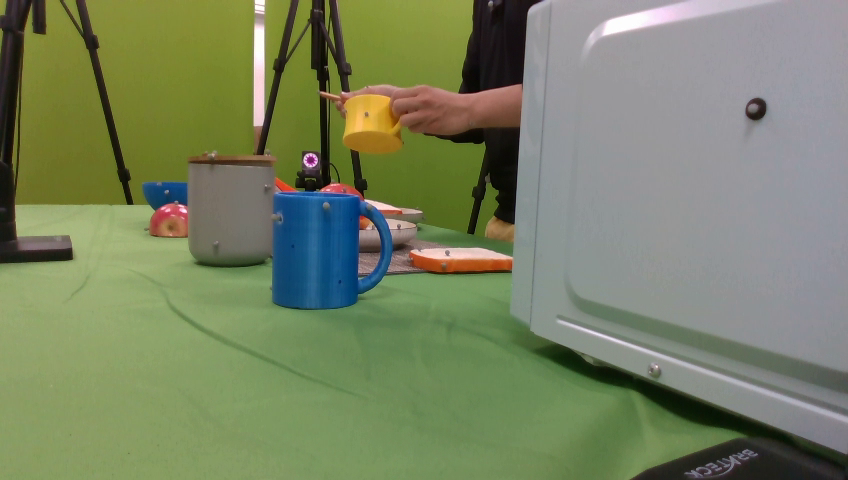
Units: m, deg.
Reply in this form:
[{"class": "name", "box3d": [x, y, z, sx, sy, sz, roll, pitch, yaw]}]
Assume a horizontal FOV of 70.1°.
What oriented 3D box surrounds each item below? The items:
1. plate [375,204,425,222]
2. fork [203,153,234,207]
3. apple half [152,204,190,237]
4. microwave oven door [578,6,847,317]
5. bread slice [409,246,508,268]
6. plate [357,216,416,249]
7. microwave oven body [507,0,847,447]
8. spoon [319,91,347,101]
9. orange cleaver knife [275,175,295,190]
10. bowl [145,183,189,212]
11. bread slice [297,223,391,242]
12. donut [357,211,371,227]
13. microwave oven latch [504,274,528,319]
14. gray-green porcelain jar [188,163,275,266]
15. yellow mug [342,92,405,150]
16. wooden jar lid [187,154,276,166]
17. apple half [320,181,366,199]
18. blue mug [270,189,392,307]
[{"class": "plate", "box3d": [-0.102, -0.053, 1.299, 0.209, 0.038, 0.209, 2, 8, 0]}, {"class": "fork", "box3d": [-0.480, -0.134, 1.411, 0.028, 0.018, 0.207, 1, -35, 0]}, {"class": "apple half", "box3d": [-0.415, -0.034, 1.017, 0.081, 0.053, 0.074, 1, 10, -9]}, {"class": "microwave oven door", "box3d": [0.294, -0.067, 0.570, 0.358, 0.243, 0.039, -3, 9, -31]}, {"class": "bread slice", "box3d": [0.048, 0.022, 0.816, 0.132, 0.019, 0.104, 0, 6, -24]}, {"class": "plate", "box3d": [-0.116, -0.014, 0.967, 0.208, 0.039, 0.207, 2, 7, 0]}, {"class": "microwave oven body", "box3d": [0.331, -0.042, 0.425, 0.444, 0.260, 0.324, -2, 8, -31]}, {"class": "spoon", "box3d": [-0.124, -0.240, 1.075, 0.193, 0.021, 0.042, 32, 21, 35]}, {"class": "orange cleaver knife", "box3d": [-0.283, -0.087, 1.343, 0.212, 0.077, 0.012, 24, -16, -41]}, {"class": "bowl", "box3d": [-0.459, -0.068, 1.175, 0.151, 0.077, 0.151, 3, 7, 0]}, {"class": "bread slice", "box3d": [-0.121, -0.014, 0.971, 0.106, 0.018, 0.135, 9, 11, 42]}, {"class": "donut", "box3d": [-0.132, -0.041, 0.959, 0.099, 0.048, 0.099, 3, 8, 0]}, {"class": "microwave oven latch", "box3d": [0.100, 0.041, 0.470, 0.079, 0.029, 0.030, -1, 7, -27]}, {"class": "gray-green porcelain jar", "box3d": [-0.246, -0.034, 0.780, 0.106, 0.126, 0.106, 2, 7, 0]}, {"class": "yellow mug", "box3d": [-0.075, -0.200, 1.005, 0.100, 0.064, 0.130, 11, -16, -42]}, {"class": "wooden jar lid", "box3d": [-0.244, -0.097, 0.771, 0.108, 0.020, 0.108, -1, 7, 0]}, {"class": "apple half", "box3d": [-0.130, -0.077, 0.952, 0.081, 0.033, 0.081, 3, 15, 0]}, {"class": "blue mug", "box3d": [-0.090, 0.005, 0.588, 0.117, 0.106, 0.082, 0, 7, -11]}]
